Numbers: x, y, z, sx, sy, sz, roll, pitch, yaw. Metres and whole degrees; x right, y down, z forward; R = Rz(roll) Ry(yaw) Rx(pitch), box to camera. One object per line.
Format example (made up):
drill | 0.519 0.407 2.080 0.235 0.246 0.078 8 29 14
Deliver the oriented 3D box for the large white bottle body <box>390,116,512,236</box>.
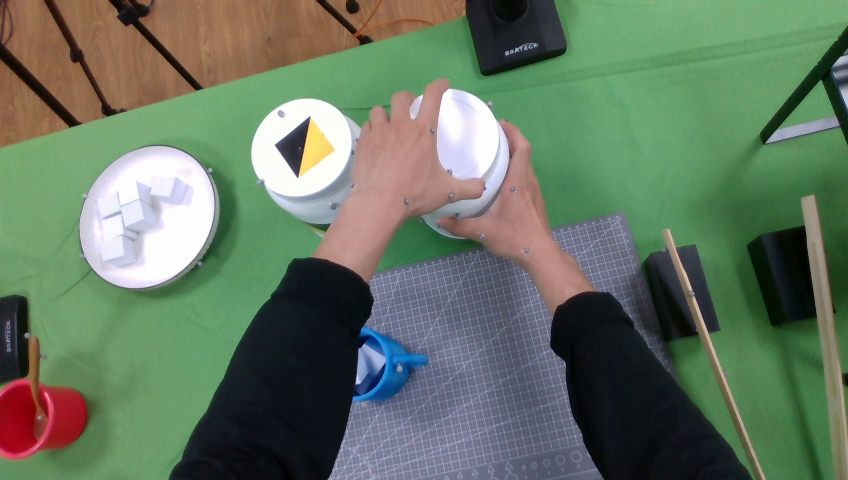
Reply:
large white bottle body | 0.034 -0.086 0.706 0.130 0.186 0.130 -2 77 10

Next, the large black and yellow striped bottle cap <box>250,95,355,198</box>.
large black and yellow striped bottle cap | -0.133 -0.103 0.660 0.115 0.019 0.114 -2 77 9

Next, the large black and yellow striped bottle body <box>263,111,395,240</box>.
large black and yellow striped bottle body | -0.118 -0.081 0.740 0.130 0.185 0.130 -2 76 10

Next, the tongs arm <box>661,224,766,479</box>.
tongs arm | 0.341 0.159 0.646 0.051 0.026 0.384 -18 87 3

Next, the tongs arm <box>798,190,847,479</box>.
tongs arm | 0.420 0.140 0.639 0.028 0.028 0.387 -4 88 0

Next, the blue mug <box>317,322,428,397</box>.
blue mug | -0.054 0.142 0.716 0.116 0.106 0.082 -7 75 8

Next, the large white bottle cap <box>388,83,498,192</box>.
large white bottle cap | 0.020 -0.106 0.624 0.114 0.018 0.114 -2 77 9

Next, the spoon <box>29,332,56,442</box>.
spoon | -0.485 0.189 0.763 0.041 0.021 0.195 32 128 19

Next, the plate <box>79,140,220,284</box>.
plate | -0.381 -0.038 0.852 0.207 0.039 0.206 -2 77 9
